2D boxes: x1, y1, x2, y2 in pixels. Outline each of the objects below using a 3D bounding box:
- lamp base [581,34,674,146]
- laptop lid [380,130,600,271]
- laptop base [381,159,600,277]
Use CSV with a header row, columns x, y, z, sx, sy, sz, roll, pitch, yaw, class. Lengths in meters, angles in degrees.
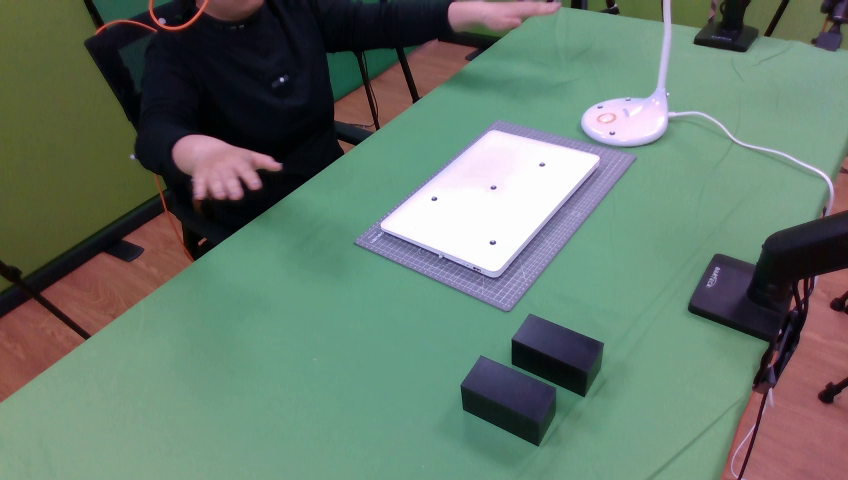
x,y,z,sx,sy,sz,roll,pitch,yaw,class
0.392,-0.291,1.129,0.180,0.181,0.159,-11,41,-8,lamp base
0.119,-0.087,1.036,0.239,0.013,0.358,23,48,33,laptop lid
0.122,-0.077,1.043,0.233,0.023,0.355,20,47,33,laptop base
